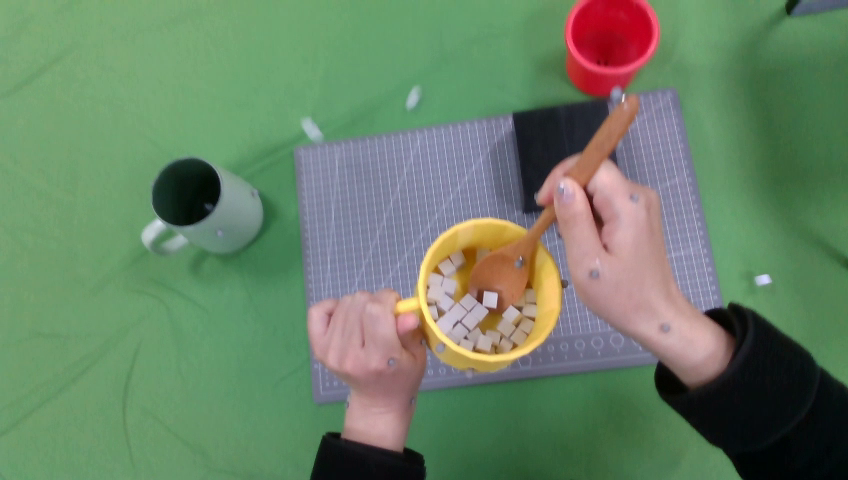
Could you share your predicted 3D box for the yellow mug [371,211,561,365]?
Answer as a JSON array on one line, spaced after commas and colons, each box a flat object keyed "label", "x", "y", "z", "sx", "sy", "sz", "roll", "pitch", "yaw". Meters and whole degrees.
[{"label": "yellow mug", "x": 0.026, "y": 0.040, "z": 0.435, "sx": 0.131, "sy": 0.064, "sz": 0.099, "roll": -12, "pitch": 74, "yaw": -8}]

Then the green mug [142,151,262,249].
[{"label": "green mug", "x": -0.251, "y": -0.034, "z": 0.671, "sx": 0.125, "sy": 0.105, "sz": 0.092, "roll": -39, "pitch": 78, "yaw": -2}]

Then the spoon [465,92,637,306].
[{"label": "spoon", "x": 0.078, "y": -0.017, "z": 0.394, "sx": 0.041, "sy": 0.194, "sz": 0.021, "roll": 33, "pitch": 47, "yaw": 2}]
